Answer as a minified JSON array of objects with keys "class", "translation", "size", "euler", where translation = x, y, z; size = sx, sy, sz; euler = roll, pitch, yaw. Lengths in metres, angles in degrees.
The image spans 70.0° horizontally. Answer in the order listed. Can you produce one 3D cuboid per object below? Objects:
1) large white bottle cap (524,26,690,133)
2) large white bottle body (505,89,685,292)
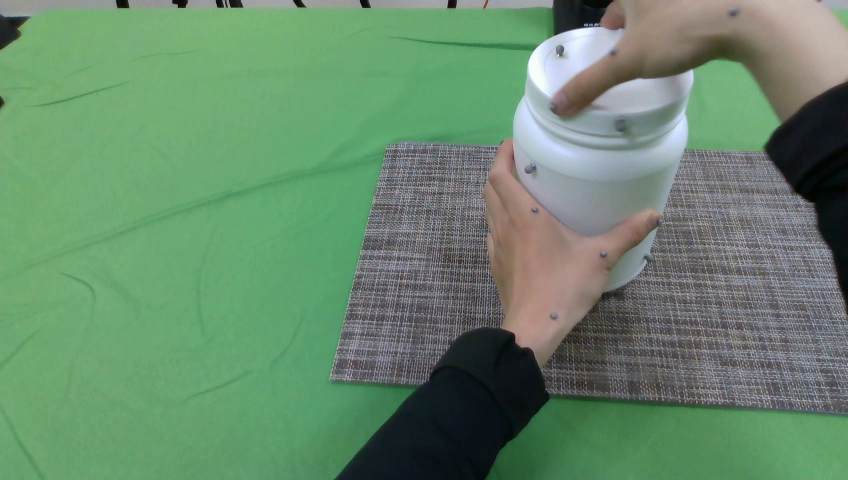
[{"class":"large white bottle cap","translation":[0.129,-0.118,0.434],"size":[0.115,0.018,0.113],"euler":[-2,47,2]},{"class":"large white bottle body","translation":[0.135,-0.060,0.499],"size":[0.130,0.186,0.129],"euler":[-2,48,2]}]
